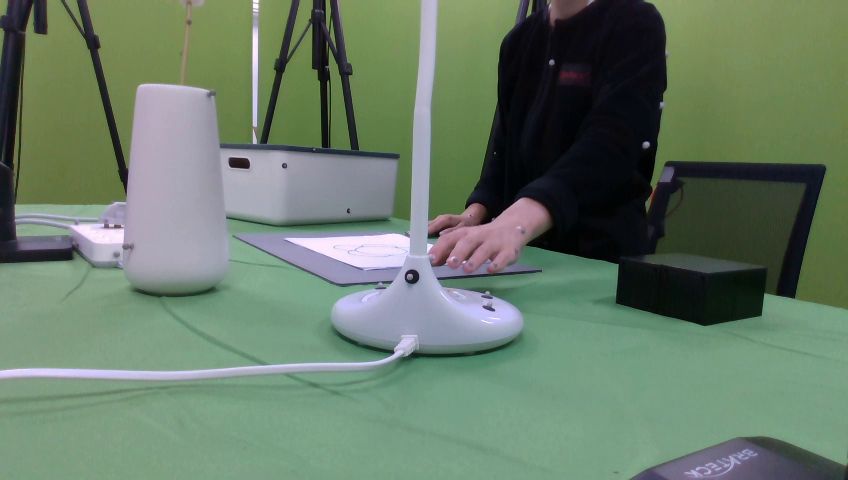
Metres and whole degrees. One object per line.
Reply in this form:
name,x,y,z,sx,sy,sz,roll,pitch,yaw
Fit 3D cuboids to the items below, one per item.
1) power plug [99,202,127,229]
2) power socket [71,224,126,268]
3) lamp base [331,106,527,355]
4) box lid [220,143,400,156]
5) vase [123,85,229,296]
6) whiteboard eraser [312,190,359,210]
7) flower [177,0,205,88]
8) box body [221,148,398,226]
power plug,-0.415,-0.026,0.848,0.073,0.052,0.035,6,5,-28
power socket,-0.409,0.004,0.793,0.072,0.032,0.225,-2,8,-37
lamp base,0.006,-0.012,0.478,0.161,0.180,0.179,2,10,2
box lid,-0.263,-0.202,1.369,0.262,0.015,0.373,8,10,39
vase,-0.244,-0.047,0.598,0.098,0.200,0.098,3,8,0
whiteboard eraser,-0.223,-0.100,1.516,0.112,0.042,0.056,8,17,31
flower,-0.243,-0.131,0.609,0.044,0.361,0.038,-5,-12,12
box body,-0.264,-0.129,1.380,0.253,0.160,0.366,8,9,39
